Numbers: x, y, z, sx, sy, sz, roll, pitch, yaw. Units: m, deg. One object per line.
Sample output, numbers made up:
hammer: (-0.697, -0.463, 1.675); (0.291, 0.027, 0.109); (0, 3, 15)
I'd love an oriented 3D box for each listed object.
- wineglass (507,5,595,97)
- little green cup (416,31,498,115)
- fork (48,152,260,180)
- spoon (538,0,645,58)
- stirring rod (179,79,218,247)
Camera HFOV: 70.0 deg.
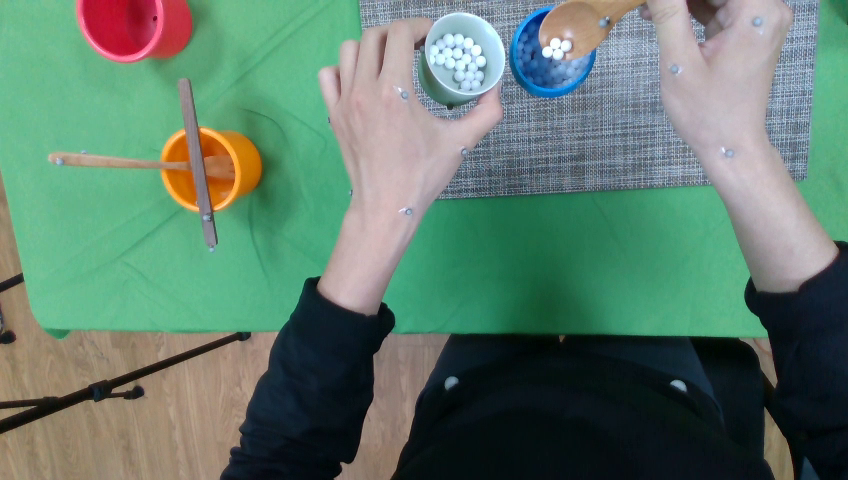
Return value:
wineglass: (0.112, -0.166, 0.547); (0.073, 0.172, 0.074); (2, 104, 9)
little green cup: (0.024, -0.129, 0.465); (0.061, 0.038, 0.062); (-1, 113, -2)
fork: (-0.280, -0.080, 0.647); (0.208, 0.018, 0.028); (-1, 115, -35)
spoon: (0.141, -0.156, 0.377); (0.021, 0.193, 0.042); (-42, 107, -23)
stirring rod: (-0.237, -0.079, 0.639); (0.014, 0.006, 0.177); (-2, 103, 10)
